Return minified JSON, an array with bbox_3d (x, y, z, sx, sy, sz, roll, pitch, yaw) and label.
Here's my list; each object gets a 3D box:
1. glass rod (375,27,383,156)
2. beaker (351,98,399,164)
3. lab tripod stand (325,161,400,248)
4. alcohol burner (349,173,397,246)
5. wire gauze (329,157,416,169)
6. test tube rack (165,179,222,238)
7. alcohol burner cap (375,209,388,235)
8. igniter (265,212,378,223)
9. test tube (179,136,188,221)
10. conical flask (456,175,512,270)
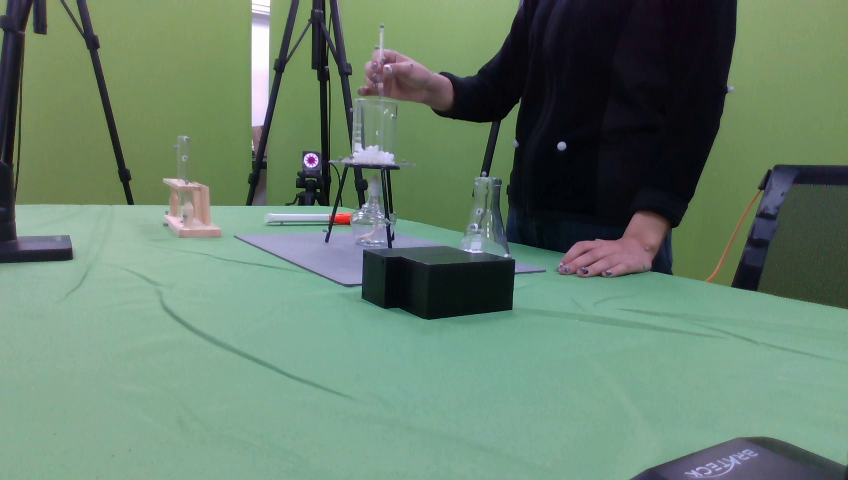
[{"bbox_3d":[-0.070,-0.229,0.934,0.008,0.199,0.008,2,0,0],"label":"glass rod"},{"bbox_3d":[-0.078,-0.171,0.962,0.074,0.100,0.084,6,8,18],"label":"beaker"},{"bbox_3d":[-0.083,-0.059,0.977,0.148,0.131,0.148,4,8,0],"label":"lab tripod stand"},{"bbox_3d":[-0.081,-0.050,0.982,0.078,0.119,0.078,4,8,0],"label":"alcohol burner"},{"bbox_3d":[-0.079,-0.125,0.972,0.121,0.011,0.125,6,6,5],"label":"wire gauze"},{"bbox_3d":[-0.423,-0.062,1.098,0.067,0.085,0.241,-2,9,-28],"label":"test tube rack"},{"bbox_3d":[-0.076,-0.035,1.145,0.034,0.048,0.034,2,7,0],"label":"alcohol burner cap"},{"bbox_3d":[-0.195,-0.048,1.285,0.278,0.025,0.057,-2,-2,-30],"label":"igniter"},{"bbox_3d":[-0.425,-0.108,1.070,0.017,0.150,0.017,4,9,0],"label":"test tube"},{"bbox_3d":[0.082,-0.025,0.801,0.075,0.122,0.075,2,7,0],"label":"conical flask"}]
